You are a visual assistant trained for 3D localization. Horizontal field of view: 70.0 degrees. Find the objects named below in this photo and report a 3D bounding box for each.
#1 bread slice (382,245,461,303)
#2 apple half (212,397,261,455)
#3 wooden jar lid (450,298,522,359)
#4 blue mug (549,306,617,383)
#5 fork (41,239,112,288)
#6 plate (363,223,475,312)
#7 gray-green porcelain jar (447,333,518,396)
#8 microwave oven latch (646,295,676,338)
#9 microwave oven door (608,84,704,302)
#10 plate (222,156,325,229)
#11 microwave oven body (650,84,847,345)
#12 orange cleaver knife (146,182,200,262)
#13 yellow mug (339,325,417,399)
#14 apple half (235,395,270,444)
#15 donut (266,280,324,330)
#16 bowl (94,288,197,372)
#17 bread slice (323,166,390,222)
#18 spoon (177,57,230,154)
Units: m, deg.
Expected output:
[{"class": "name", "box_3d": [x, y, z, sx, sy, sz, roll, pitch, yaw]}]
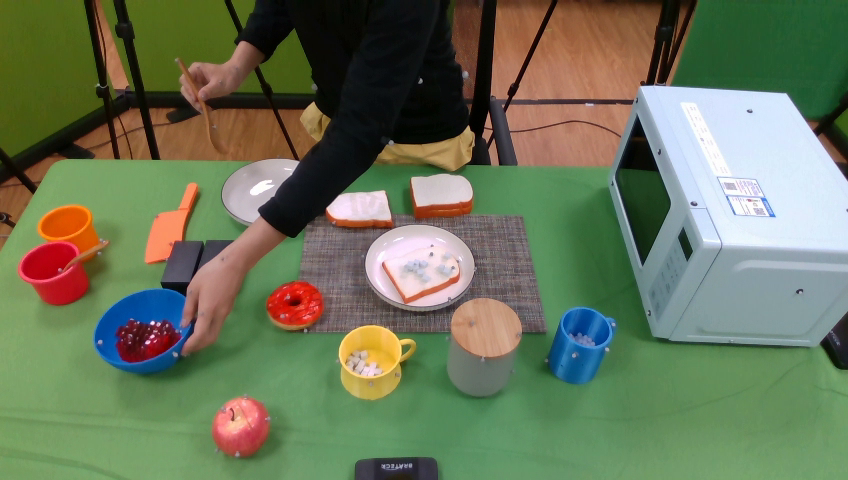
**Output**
[{"class": "bread slice", "box_3d": [0.000, 0.054, 1.128, 0.131, 0.019, 0.104, -20, 51, -21]}, {"class": "apple half", "box_3d": [-0.276, 0.276, 0.877, 0.053, 0.075, 0.080, -29, 58, -21]}, {"class": "wooden jar lid", "box_3d": [0.093, 0.135, 0.914, 0.108, 0.021, 0.107, 3, 48, -3]}, {"class": "blue mug", "box_3d": [0.269, 0.167, 0.997, 0.116, 0.106, 0.082, -19, 51, -21]}, {"class": "fork", "box_3d": [-0.591, 0.040, 1.028, 0.207, 0.019, 0.028, -27, 36, 29]}, {"class": "plate", "box_3d": [-0.009, 0.054, 1.126, 0.208, 0.039, 0.206, 2, 46, -2]}, {"class": "gray-green porcelain jar", "box_3d": [0.091, 0.178, 0.960, 0.106, 0.127, 0.105, 2, 47, -2]}, {"class": "microwave oven latch", "box_3d": [0.413, 0.133, 1.060, 0.030, 0.029, 0.078, 4, 46, 1]}, {"class": "microwave oven door", "box_3d": [0.424, -0.096, 1.137, 0.039, 0.245, 0.353, 3, 46, -1]}, {"class": "plate", "box_3d": [-0.307, -0.095, 1.251, 0.209, 0.038, 0.208, 2, 47, -2]}, {"class": "microwave oven body", "box_3d": [0.569, -0.054, 1.116, 0.326, 0.261, 0.439, 2, 46, -1]}, {"class": "orange cleaver knife", "box_3d": [-0.494, -0.039, 1.199, 0.077, 0.012, 0.210, -3, 48, 1]}, {"class": "yellow mug", "box_3d": [-0.072, 0.191, 0.978, 0.131, 0.064, 0.099, -17, 50, -20]}, {"class": "apple half", "box_3d": [-0.245, 0.260, 0.893, 0.033, 0.082, 0.081, -29, 55, -22]}, {"class": "donut", "box_3d": [-0.223, 0.113, 1.051, 0.099, 0.048, 0.098, 3, 45, -2]}, {"class": "bowl", "box_3d": [-0.435, 0.158, 0.972, 0.151, 0.077, 0.150, 0, 44, 0]}, {"class": "bread slice", "box_3d": [-0.140, -0.092, 1.224, 0.134, 0.018, 0.106, -19, 51, 6]}, {"class": "spoon", "box_3d": [-0.418, -0.253, 1.151, 0.021, 0.194, 0.041, -7, 27, 17]}]
